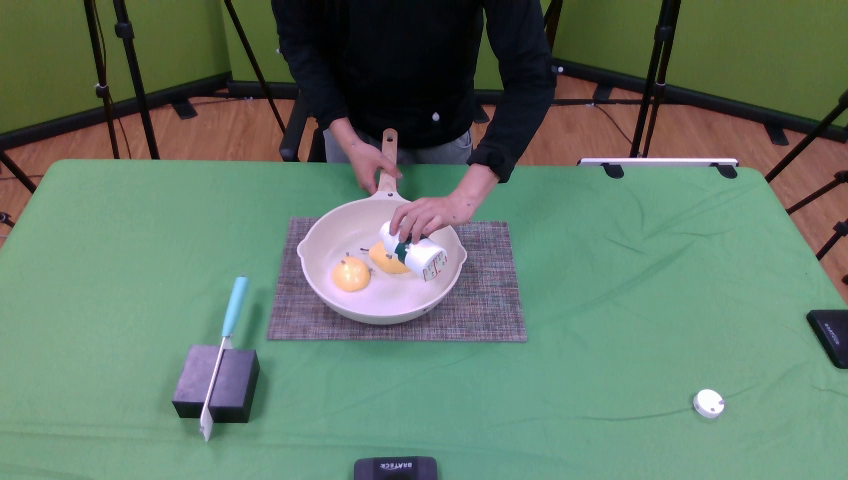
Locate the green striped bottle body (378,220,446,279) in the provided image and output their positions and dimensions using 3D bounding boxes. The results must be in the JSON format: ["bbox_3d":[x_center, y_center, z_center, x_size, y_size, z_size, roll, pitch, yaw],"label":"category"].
[{"bbox_3d":[-0.025,0.011,1.030,0.118,0.063,0.063,35,53,29],"label":"green striped bottle body"}]

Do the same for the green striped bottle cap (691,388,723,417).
[{"bbox_3d":[0.460,0.263,0.984,0.044,0.020,0.044,3,46,-3],"label":"green striped bottle cap"}]

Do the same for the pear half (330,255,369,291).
[{"bbox_3d":[-0.139,0.053,1.121,0.070,0.031,0.087,-6,50,-17],"label":"pear half"}]

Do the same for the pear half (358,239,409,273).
[{"bbox_3d":[-0.074,0.017,1.146,0.110,0.056,0.076,9,41,7],"label":"pear half"}]

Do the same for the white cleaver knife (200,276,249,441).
[{"bbox_3d":[-0.321,0.177,0.972,0.021,0.066,0.284,7,48,-5],"label":"white cleaver knife"}]

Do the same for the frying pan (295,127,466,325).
[{"bbox_3d":[-0.076,-0.045,1.172,0.307,0.103,0.485,3,55,-2],"label":"frying pan"}]
